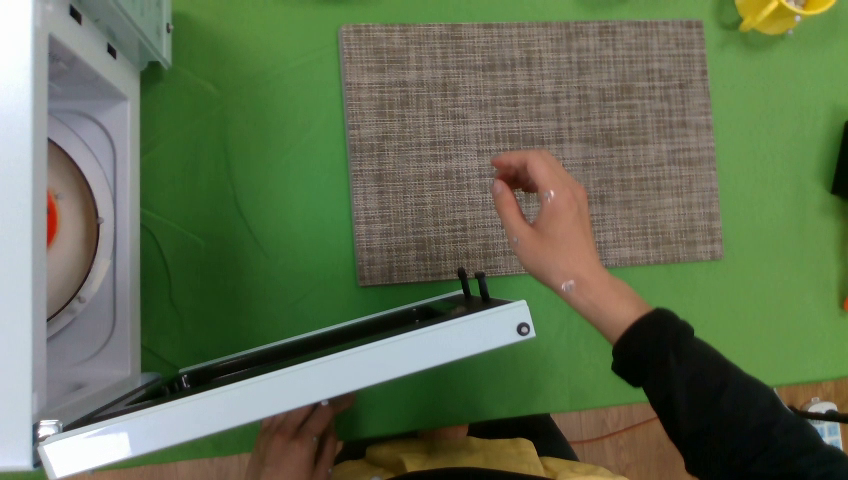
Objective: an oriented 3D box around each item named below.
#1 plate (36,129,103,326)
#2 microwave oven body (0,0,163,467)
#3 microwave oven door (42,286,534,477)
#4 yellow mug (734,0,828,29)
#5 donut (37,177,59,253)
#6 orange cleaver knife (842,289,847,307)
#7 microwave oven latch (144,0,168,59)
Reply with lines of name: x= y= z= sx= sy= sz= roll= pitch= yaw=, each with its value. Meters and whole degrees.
plate: x=-0.408 y=-0.011 z=0.566 sx=0.209 sy=0.038 sz=0.209 roll=0 pitch=88 yaw=-9
microwave oven body: x=-0.414 y=-0.058 z=0.514 sx=0.327 sy=0.260 sz=0.441 roll=-1 pitch=89 yaw=-8
microwave oven door: x=-0.102 y=0.108 z=0.547 sx=0.356 sy=0.243 sz=0.039 roll=-15 pitch=89 yaw=-8
yellow mug: x=0.434 y=-0.310 z=0.743 sx=0.100 sy=0.064 sz=0.131 roll=44 pitch=84 yaw=-4
donut: x=-0.391 y=-0.023 z=0.559 sx=0.099 sy=0.048 sz=0.099 roll=0 pitch=90 yaw=-8
orange cleaver knife: x=0.568 y=-0.015 z=0.743 sx=0.012 sy=0.076 sz=0.212 roll=16 pitch=116 yaw=-3
microwave oven latch: x=-0.285 y=-0.233 z=0.635 sx=0.030 sy=0.029 sz=0.079 roll=1 pitch=88 yaw=-8
